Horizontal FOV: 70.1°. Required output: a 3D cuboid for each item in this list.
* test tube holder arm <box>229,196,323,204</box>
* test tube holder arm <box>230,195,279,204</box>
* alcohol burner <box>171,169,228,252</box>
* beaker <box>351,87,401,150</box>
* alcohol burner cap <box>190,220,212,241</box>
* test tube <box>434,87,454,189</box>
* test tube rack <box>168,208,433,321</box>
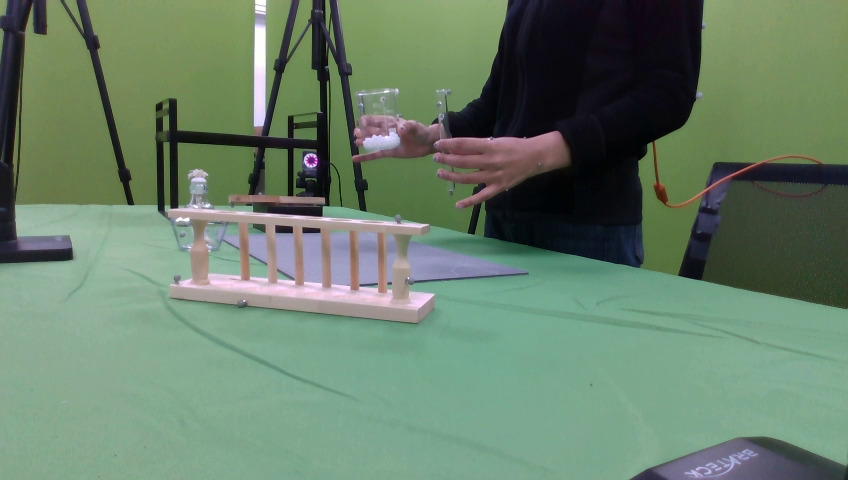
[{"bbox_3d":[-0.276,-0.076,1.143,0.179,0.015,0.013,-1,0,-32],"label":"test tube holder arm"},{"bbox_3d":[-0.311,-0.075,1.115,0.088,0.015,0.010,-1,0,-31],"label":"test tube holder arm"},{"bbox_3d":[-0.325,-0.043,0.875,0.078,0.119,0.078,0,7,0],"label":"alcohol burner"},{"bbox_3d":[-0.078,-0.208,1.040,0.083,0.100,0.074,-2,13,24],"label":"beaker"},{"bbox_3d":[-0.365,-0.023,0.988,0.034,0.048,0.034,1,7,0],"label":"alcohol burner cap"},{"bbox_3d":[0.030,-0.150,0.898,0.017,0.150,0.017,-6,14,2],"label":"test tube"},{"bbox_3d":[-0.115,0.017,0.574,0.242,0.085,0.067,4,8,13],"label":"test tube rack"}]
